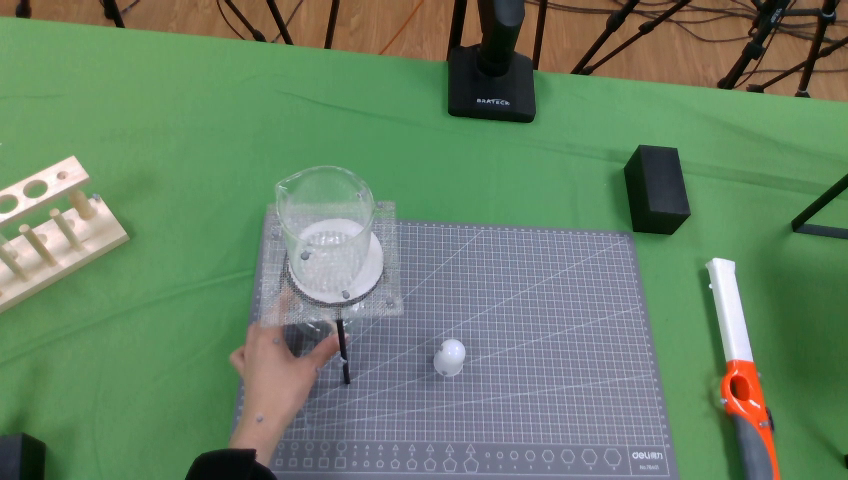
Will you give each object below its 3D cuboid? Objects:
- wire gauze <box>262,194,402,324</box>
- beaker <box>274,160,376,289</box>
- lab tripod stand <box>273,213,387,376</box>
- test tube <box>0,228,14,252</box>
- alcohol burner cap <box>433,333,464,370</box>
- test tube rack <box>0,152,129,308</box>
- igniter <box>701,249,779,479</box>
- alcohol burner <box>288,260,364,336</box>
[{"bbox_3d":[-0.084,0.012,0.548,0.122,0.011,0.124,-3,66,-7],"label":"wire gauze"},{"bbox_3d":[-0.083,-0.009,0.504,0.084,0.101,0.073,26,62,7],"label":"beaker"},{"bbox_3d":[-0.088,0.048,0.603,0.149,0.132,0.147,4,62,-7],"label":"lab tripod stand"},{"bbox_3d":[-0.430,-0.031,0.577,0.017,0.151,0.017,4,56,-5],"label":"test tube"},{"bbox_3d":[0.027,0.115,0.634,0.034,0.048,0.033,2,64,-3],"label":"alcohol burner cap"},{"bbox_3d":[-0.438,0.016,0.607,0.242,0.086,0.066,-35,71,-23],"label":"test tube rack"},{"bbox_3d":[0.348,0.136,0.673,0.057,0.025,0.274,10,61,-13],"label":"igniter"},{"bbox_3d":[-0.099,0.052,0.611,0.078,0.120,0.077,4,60,-7],"label":"alcohol burner"}]
